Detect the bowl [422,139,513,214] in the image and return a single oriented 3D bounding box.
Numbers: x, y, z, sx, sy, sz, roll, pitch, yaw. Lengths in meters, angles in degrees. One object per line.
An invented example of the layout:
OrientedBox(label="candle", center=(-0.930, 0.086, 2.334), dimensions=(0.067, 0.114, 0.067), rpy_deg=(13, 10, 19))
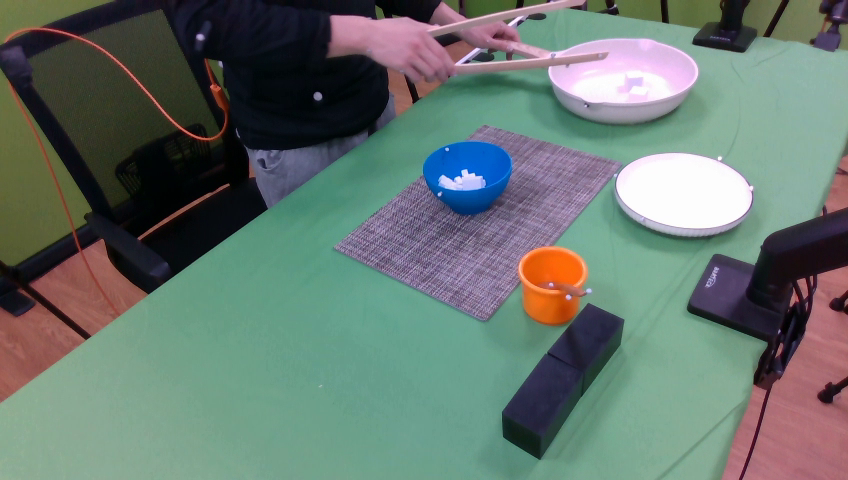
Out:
OrientedBox(label="bowl", center=(0.076, -0.098, 1.021), dimensions=(0.151, 0.077, 0.150), rpy_deg=(-4, 41, 4))

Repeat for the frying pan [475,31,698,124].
OrientedBox(label="frying pan", center=(0.320, -0.371, 1.290), dimensions=(0.485, 0.103, 0.307), rpy_deg=(28, 50, 23))

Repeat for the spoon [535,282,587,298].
OrientedBox(label="spoon", center=(0.176, 0.063, 0.774), dimensions=(0.041, 0.194, 0.021), rpy_deg=(-3, 85, 1))

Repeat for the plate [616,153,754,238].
OrientedBox(label="plate", center=(0.416, -0.069, 0.977), dimensions=(0.207, 0.039, 0.206), rpy_deg=(-4, 40, 4))

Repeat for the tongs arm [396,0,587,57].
OrientedBox(label="tongs arm", center=(0.124, -0.375, 1.051), dimensions=(0.389, 0.027, 0.028), rpy_deg=(-19, 82, -20))

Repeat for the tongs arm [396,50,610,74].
OrientedBox(label="tongs arm", center=(0.143, -0.316, 1.036), dimensions=(0.387, 0.026, 0.050), rpy_deg=(-11, 77, -18))
